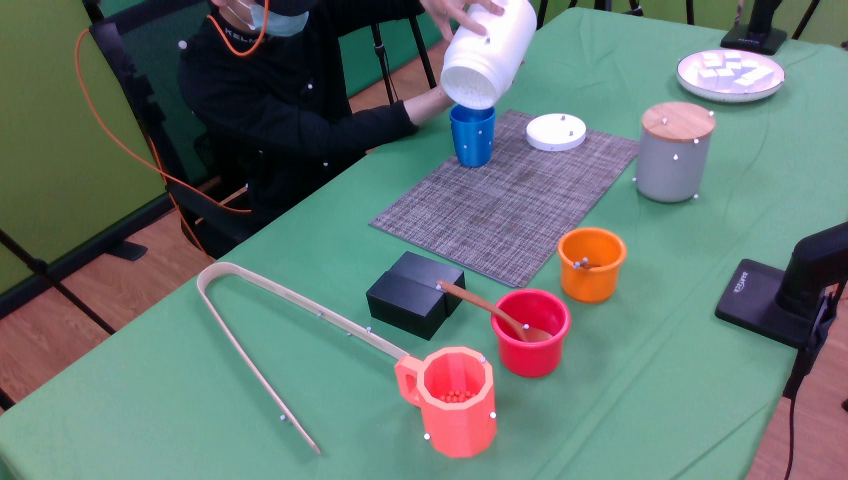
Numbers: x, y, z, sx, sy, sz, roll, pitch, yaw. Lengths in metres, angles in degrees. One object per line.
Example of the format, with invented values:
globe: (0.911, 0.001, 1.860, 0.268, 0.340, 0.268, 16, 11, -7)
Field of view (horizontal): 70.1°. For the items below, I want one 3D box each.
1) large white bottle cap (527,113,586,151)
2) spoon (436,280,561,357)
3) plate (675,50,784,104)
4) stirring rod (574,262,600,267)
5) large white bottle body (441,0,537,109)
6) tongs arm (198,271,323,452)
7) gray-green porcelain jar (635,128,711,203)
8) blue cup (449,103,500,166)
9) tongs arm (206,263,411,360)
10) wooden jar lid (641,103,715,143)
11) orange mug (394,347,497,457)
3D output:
large white bottle cap: (0.259, -0.213, 1.184, 0.115, 0.018, 0.114, -4, 41, 4)
spoon: (0.096, 0.095, 0.757, 0.195, 0.021, 0.041, 34, 40, -20)
plate: (0.631, -0.336, 1.262, 0.207, 0.039, 0.206, -4, 41, 4)
stirring rod: (0.221, 0.033, 0.817, 0.014, 0.006, 0.177, 8, 1, 22)
large white bottle body: (0.114, -0.340, 1.086, 0.130, 0.131, 0.184, 15, 66, 24)
tongs arm: (-0.236, 0.152, 0.829, 0.028, 0.028, 0.384, -36, 47, -19)
gray-green porcelain jar: (0.405, -0.133, 0.992, 0.106, 0.127, 0.105, -4, 40, 4)
blue cup: (0.092, -0.194, 1.123, 0.092, 0.100, 0.092, -3, 40, 3)
tongs arm: (-0.179, 0.106, 0.870, 0.381, 0.026, 0.051, 23, 53, 32)
wooden jar lid: (0.398, -0.180, 0.952, 0.108, 0.021, 0.108, -4, 43, 4)
orange mug: (0.024, 0.181, 0.703, 0.125, 0.101, 0.083, 20, 48, 23)
